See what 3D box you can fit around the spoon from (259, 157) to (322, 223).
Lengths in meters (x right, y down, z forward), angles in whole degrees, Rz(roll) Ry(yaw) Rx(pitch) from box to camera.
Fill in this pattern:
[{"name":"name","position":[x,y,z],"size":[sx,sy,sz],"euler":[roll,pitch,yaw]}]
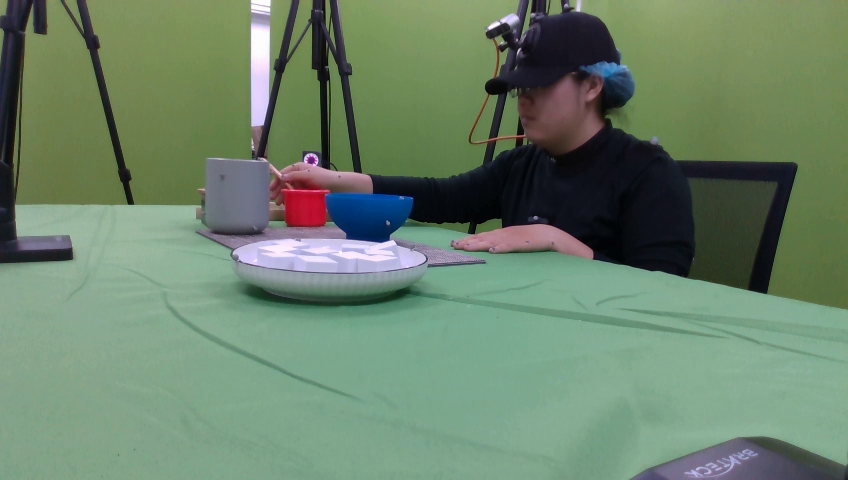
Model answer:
[{"name":"spoon","position":[-0.273,-0.103,1.232],"size":[0.042,0.193,0.021],"euler":[-24,-20,-53]}]

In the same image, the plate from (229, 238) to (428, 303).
[{"name":"plate","position":[-0.099,0.032,0.651],"size":[0.209,0.038,0.209],"euler":[3,8,0]}]

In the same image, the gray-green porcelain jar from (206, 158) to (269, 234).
[{"name":"gray-green porcelain jar","position":[-0.323,-0.076,1.048],"size":[0.106,0.126,0.106],"euler":[3,7,0]}]

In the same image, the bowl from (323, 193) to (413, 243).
[{"name":"bowl","position":[-0.094,-0.037,1.015],"size":[0.151,0.077,0.151],"euler":[2,7,0]}]

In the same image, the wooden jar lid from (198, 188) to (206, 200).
[{"name":"wooden jar lid","position":[-0.382,-0.088,1.175],"size":[0.108,0.020,0.108],"euler":[3,8,0]}]

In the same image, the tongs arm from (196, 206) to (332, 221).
[{"name":"tongs arm","position":[-0.294,-0.058,1.330],"size":[0.389,0.028,0.028],"euler":[0,5,-20]}]

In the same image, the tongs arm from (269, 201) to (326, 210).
[{"name":"tongs arm","position":[-0.308,-0.073,1.410],"size":[0.386,0.026,0.050],"euler":[3,8,-6]}]
